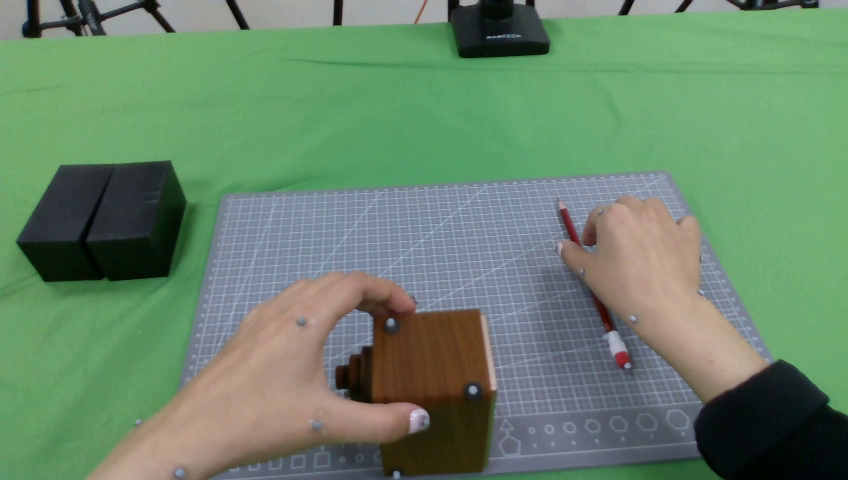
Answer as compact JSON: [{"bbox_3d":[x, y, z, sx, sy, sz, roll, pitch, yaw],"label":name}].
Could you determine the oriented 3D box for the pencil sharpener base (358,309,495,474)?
[{"bbox_3d":[0.001,0.099,0.385,0.077,0.108,0.060,-3,47,-2],"label":"pencil sharpener base"}]

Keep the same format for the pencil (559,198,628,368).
[{"bbox_3d":[0.141,0.027,0.522,0.012,0.012,0.192,-3,45,-4],"label":"pencil"}]

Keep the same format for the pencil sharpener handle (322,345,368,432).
[{"bbox_3d":[-0.051,0.095,0.372,0.030,0.068,0.035,-3,36,-2],"label":"pencil sharpener handle"}]
